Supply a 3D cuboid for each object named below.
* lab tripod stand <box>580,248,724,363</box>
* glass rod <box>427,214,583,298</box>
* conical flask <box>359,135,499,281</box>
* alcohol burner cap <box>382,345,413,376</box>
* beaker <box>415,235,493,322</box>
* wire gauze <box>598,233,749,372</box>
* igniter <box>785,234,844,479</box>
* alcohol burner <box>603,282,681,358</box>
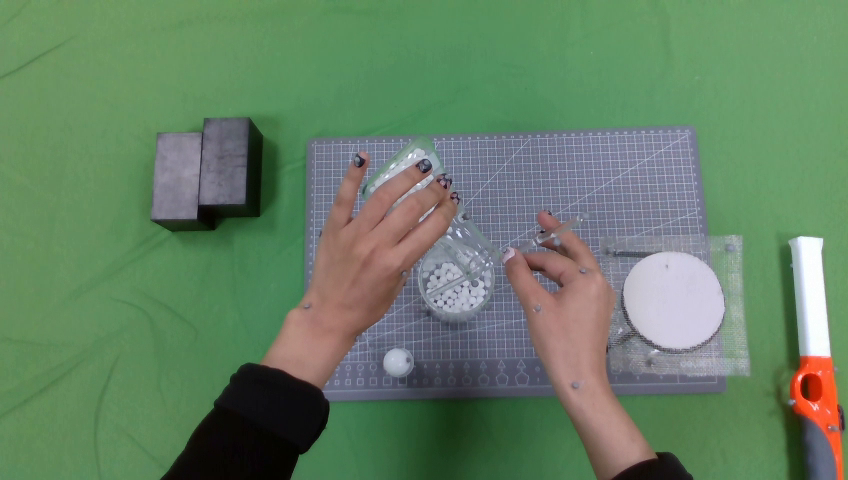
[{"bbox_3d":[0.219,0.069,0.593,0.148,0.132,0.148,0,80,2],"label":"lab tripod stand"},{"bbox_3d":[0.061,0.019,0.527,0.008,0.199,0.008,17,59,-31],"label":"glass rod"},{"bbox_3d":[0.010,-0.023,0.509,0.075,0.075,0.122,-44,96,-8],"label":"conical flask"},{"bbox_3d":[-0.029,0.126,0.634,0.034,0.048,0.033,0,78,1],"label":"alcohol burner cap"},{"bbox_3d":[0.032,0.043,0.621,0.074,0.100,0.083,21,78,6],"label":"beaker"},{"bbox_3d":[0.217,0.053,0.528,0.125,0.011,0.121,1,79,2],"label":"wire gauze"},{"bbox_3d":[0.406,0.129,0.633,0.057,0.025,0.275,5,78,-9],"label":"igniter"},{"bbox_3d":[0.220,0.078,0.602,0.078,0.119,0.077,-1,78,4],"label":"alcohol burner"}]
